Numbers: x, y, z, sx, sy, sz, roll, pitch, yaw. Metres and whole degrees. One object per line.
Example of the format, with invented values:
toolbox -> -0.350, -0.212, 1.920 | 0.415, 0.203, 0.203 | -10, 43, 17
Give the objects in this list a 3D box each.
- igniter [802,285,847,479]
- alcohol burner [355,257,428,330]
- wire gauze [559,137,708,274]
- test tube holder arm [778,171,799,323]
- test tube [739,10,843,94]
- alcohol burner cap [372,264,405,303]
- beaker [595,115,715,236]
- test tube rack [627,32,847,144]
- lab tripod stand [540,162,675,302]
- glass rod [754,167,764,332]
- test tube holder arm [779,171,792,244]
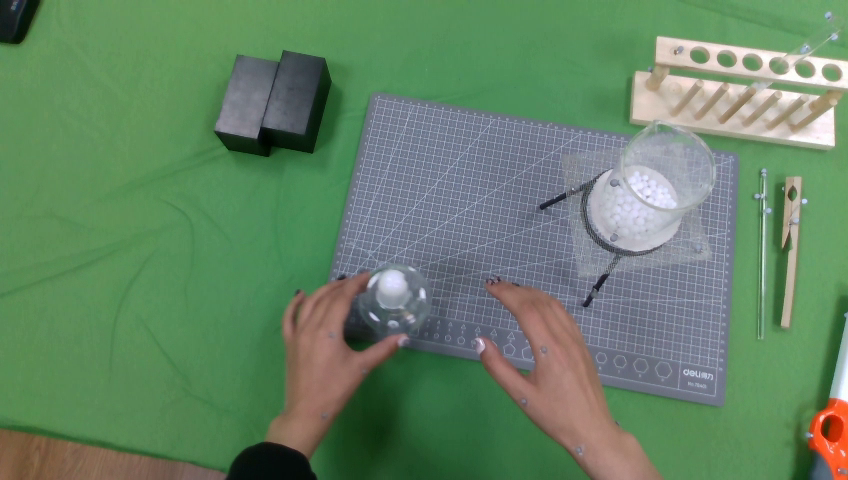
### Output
igniter -> 0.440, 0.176, 0.644 | 0.057, 0.025, 0.275 | 24, 76, -4
alcohol burner -> -0.034, 0.052, 0.626 | 0.078, 0.120, 0.077 | 0, 73, -1
wire gauze -> 0.195, -0.035, 0.572 | 0.121, 0.011, 0.124 | -6, 77, 2
test tube holder arm -> 0.417, 0.006, 0.691 | 0.013, 0.015, 0.177 | 2, 74, 34
test tube -> 0.393, -0.199, 0.660 | 0.017, 0.150, 0.017 | 2, 75, -6
alcohol burner cap -> -0.035, 0.040, 0.592 | 0.034, 0.048, 0.033 | 2, 66, -4
beaker -> 0.193, -0.051, 0.526 | 0.074, 0.101, 0.083 | -5, 75, 1
test tube rack -> 0.372, -0.174, 0.704 | 0.242, 0.085, 0.066 | 8, 75, 2
lab tripod stand -> 0.190, -0.018, 0.635 | 0.148, 0.132, 0.147 | 0, 75, 2
glass rod -> 0.385, 0.008, 0.697 | 0.008, 0.008, 0.198 | 9, 75, 2
test tube holder arm -> 0.421, -0.037, 0.705 | 0.010, 0.015, 0.087 | 2, 74, 34
